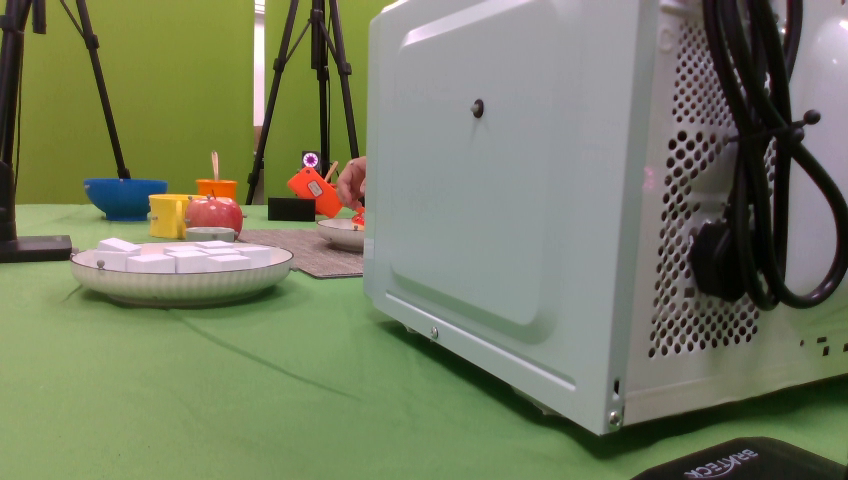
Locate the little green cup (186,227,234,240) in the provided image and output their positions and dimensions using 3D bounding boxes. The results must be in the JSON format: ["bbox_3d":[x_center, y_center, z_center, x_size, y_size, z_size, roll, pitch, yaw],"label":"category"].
[{"bbox_3d":[-0.284,0.005,0.805,0.061,0.038,0.061,2,8,0],"label":"little green cup"}]

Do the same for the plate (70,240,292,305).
[{"bbox_3d":[-0.242,0.031,0.618,0.208,0.039,0.207,2,8,0],"label":"plate"}]

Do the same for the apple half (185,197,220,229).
[{"bbox_3d":[-0.338,-0.031,0.927,0.032,0.081,0.081,12,12,31],"label":"apple half"}]

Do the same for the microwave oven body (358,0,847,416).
[{"bbox_3d":[0.211,-0.047,0.475,0.444,0.260,0.324,-1,7,-28],"label":"microwave oven body"}]

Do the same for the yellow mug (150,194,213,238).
[{"bbox_3d":[-0.401,-0.040,1.003,0.100,0.064,0.130,-1,9,-20],"label":"yellow mug"}]

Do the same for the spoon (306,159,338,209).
[{"bbox_3d":[-0.257,-0.147,1.567,0.041,0.022,0.193,2,51,20],"label":"spoon"}]

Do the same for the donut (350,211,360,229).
[{"bbox_3d":[-0.070,-0.022,0.964,0.099,0.048,0.099,4,7,0],"label":"donut"}]

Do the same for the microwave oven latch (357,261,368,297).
[{"bbox_3d":[-0.019,0.033,0.531,0.079,0.029,0.030,-1,7,-27],"label":"microwave oven latch"}]

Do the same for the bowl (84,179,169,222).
[{"bbox_3d":[-0.584,-0.078,1.194,0.151,0.077,0.151,3,8,0],"label":"bowl"}]

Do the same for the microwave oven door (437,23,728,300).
[{"bbox_3d":[0.180,-0.072,0.621,0.358,0.243,0.039,-2,8,-29],"label":"microwave oven door"}]

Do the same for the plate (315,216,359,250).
[{"bbox_3d":[-0.068,-0.010,0.963,0.209,0.038,0.209,3,8,0],"label":"plate"}]

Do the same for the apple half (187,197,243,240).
[{"bbox_3d":[-0.305,-0.026,0.907,0.053,0.074,0.081,12,8,31],"label":"apple half"}]

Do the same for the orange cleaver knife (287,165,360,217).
[{"bbox_3d":[-0.211,-0.093,1.382,0.212,0.077,0.012,33,1,-15],"label":"orange cleaver knife"}]

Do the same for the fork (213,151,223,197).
[{"bbox_3d":[-0.494,-0.143,1.442,0.028,0.018,0.206,-2,52,-20],"label":"fork"}]
